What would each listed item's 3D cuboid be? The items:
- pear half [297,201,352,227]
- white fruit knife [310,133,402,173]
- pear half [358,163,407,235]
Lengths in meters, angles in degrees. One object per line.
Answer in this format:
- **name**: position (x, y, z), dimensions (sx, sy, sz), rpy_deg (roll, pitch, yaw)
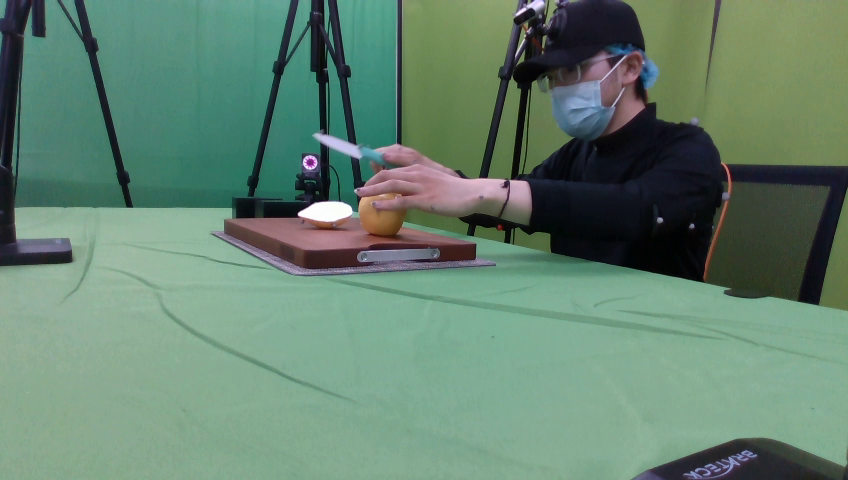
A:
- **pear half**: position (-0.162, -0.038, 0.996), dimensions (0.088, 0.031, 0.070), rpy_deg (-12, 26, -15)
- **white fruit knife**: position (-0.117, -0.158, 1.081), dimensions (0.016, 0.027, 0.209), rpy_deg (-24, -26, 39)
- **pear half**: position (-0.057, -0.062, 0.924), dimensions (0.055, 0.110, 0.077), rpy_deg (9, 14, 42)
